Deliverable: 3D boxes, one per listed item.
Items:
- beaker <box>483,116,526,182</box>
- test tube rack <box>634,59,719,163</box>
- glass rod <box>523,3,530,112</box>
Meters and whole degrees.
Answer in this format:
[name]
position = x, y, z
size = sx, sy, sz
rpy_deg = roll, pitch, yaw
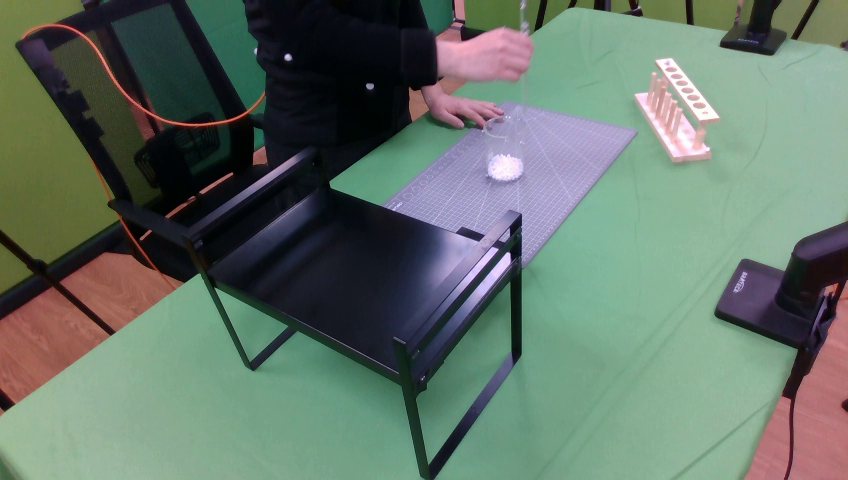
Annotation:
[beaker]
position = 0.147, -0.162, 1.080
size = 0.073, 0.101, 0.084
rpy_deg = 13, 44, 22
[test tube rack]
position = 0.470, -0.250, 1.148
size = 0.067, 0.085, 0.241
rpy_deg = -6, 40, 3
[glass rod]
position = 0.162, -0.280, 0.948
size = 0.008, 0.201, 0.008
rpy_deg = -5, 51, 7
